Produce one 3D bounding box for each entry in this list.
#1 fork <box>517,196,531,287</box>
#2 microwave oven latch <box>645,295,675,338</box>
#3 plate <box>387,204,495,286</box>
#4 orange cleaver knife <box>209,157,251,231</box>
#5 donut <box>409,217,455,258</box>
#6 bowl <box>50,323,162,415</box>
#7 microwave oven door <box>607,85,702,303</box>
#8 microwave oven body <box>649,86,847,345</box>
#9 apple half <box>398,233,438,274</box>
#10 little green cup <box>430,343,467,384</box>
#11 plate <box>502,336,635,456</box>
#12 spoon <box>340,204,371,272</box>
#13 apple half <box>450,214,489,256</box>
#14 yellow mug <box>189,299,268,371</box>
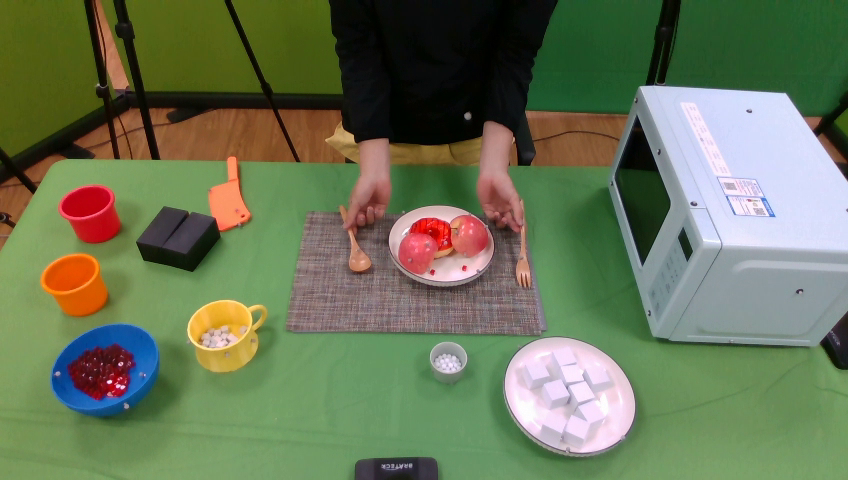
[{"bbox_3d":[0.193,0.000,1.183,0.028,0.019,0.206,5,63,-5],"label":"fork"},{"bbox_3d":[0.412,0.134,1.061,0.030,0.029,0.078,3,45,0],"label":"microwave oven latch"},{"bbox_3d":[0.033,0.014,1.171,0.209,0.038,0.208,2,46,-2],"label":"plate"},{"bbox_3d":[-0.409,-0.099,1.266,0.077,0.012,0.210,-14,50,-10],"label":"orange cleaver knife"},{"bbox_3d":[0.019,-0.006,1.174,0.099,0.048,0.098,3,43,-2],"label":"donut"},{"bbox_3d":[-0.472,0.209,0.924,0.151,0.077,0.150,3,45,-2],"label":"bowl"},{"bbox_3d":[0.423,-0.094,1.140,0.039,0.245,0.353,2,46,-1],"label":"microwave oven door"},{"bbox_3d":[0.568,-0.053,1.118,0.326,0.261,0.439,2,45,-1],"label":"microwave oven body"},{"bbox_3d":[-0.016,0.022,1.123,0.081,0.033,0.081,-2,83,14],"label":"apple half"},{"bbox_3d":[0.039,0.203,0.994,0.061,0.039,0.061,2,46,-2],"label":"little green cup"},{"bbox_3d":[0.225,0.248,0.964,0.208,0.039,0.206,2,46,-2],"label":"plate"},{"bbox_3d":[-0.141,-0.008,1.186,0.041,0.022,0.192,-17,52,-5],"label":"spoon"},{"bbox_3d":[0.092,-0.013,1.158,0.075,0.053,0.080,34,39,-28],"label":"apple half"},{"bbox_3d":[-0.316,0.148,1.002,0.131,0.064,0.099,-33,56,-31],"label":"yellow mug"}]
